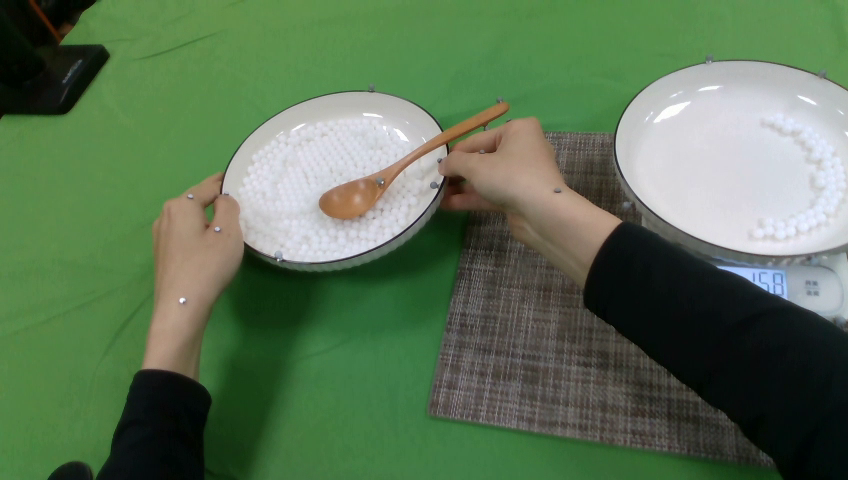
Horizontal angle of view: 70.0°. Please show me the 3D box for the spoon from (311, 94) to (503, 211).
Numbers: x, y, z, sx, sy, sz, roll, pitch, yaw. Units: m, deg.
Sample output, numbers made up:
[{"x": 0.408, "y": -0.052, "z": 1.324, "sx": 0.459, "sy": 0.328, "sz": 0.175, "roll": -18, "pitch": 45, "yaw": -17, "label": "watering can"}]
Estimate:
[{"x": -0.011, "y": -0.080, "z": 0.532, "sx": 0.194, "sy": 0.022, "sz": 0.041, "roll": -32, "pitch": 55, "yaw": -5, "label": "spoon"}]

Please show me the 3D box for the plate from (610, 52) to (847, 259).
[{"x": 0.255, "y": -0.069, "z": 0.485, "sx": 0.207, "sy": 0.039, "sz": 0.205, "roll": -5, "pitch": 55, "yaw": 7, "label": "plate"}]

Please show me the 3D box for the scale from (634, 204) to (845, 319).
[{"x": 0.253, "y": -0.033, "z": 0.501, "sx": 0.148, "sy": 0.032, "sz": 0.199, "roll": 4, "pitch": 57, "yaw": 14, "label": "scale"}]

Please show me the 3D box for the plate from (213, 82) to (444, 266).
[{"x": -0.084, "y": -0.060, "z": 0.550, "sx": 0.209, "sy": 0.038, "sz": 0.207, "roll": -4, "pitch": 55, "yaw": 6, "label": "plate"}]
